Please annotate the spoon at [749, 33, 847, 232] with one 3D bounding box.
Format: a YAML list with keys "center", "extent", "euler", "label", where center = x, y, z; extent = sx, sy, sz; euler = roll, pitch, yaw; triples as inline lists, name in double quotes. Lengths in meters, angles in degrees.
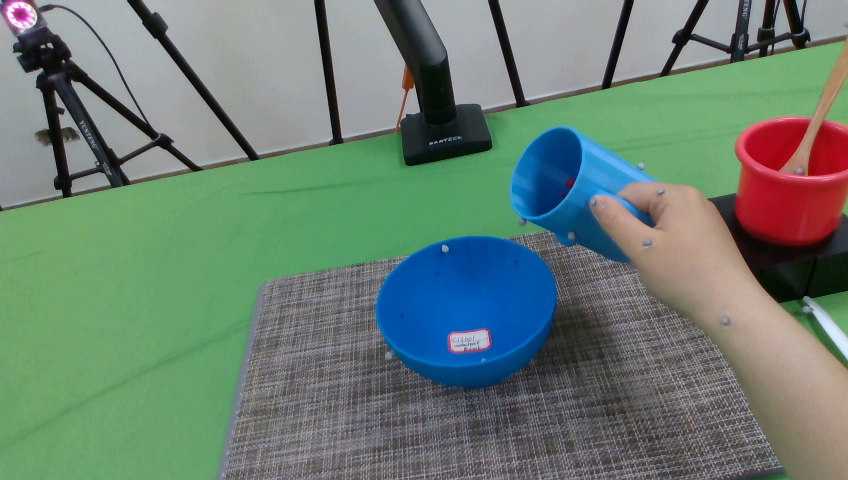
- center: [0.330, -0.096, 0.512]
  extent: [0.041, 0.022, 0.194]
  euler: [27, 98, 40]
  label: "spoon"

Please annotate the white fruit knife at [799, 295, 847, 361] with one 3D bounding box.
- center: [0.336, 0.111, 0.446]
  extent: [0.027, 0.016, 0.205]
  euler: [11, 35, -13]
  label: "white fruit knife"

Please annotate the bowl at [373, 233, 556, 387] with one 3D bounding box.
- center: [0.039, 0.072, 0.518]
  extent: [0.151, 0.077, 0.150]
  euler: [-8, 40, 7]
  label: "bowl"

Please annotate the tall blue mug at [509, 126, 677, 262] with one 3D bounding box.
- center: [0.142, -0.035, 0.474]
  extent: [0.106, 0.109, 0.077]
  euler: [-8, 65, 55]
  label: "tall blue mug"
